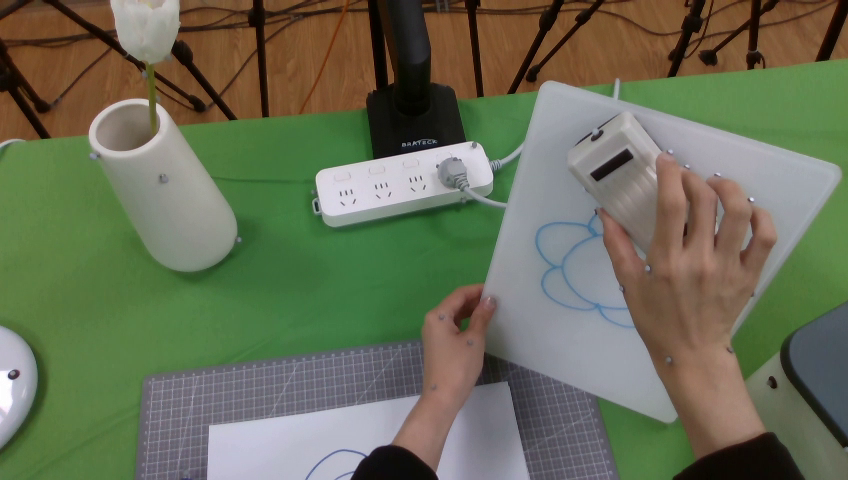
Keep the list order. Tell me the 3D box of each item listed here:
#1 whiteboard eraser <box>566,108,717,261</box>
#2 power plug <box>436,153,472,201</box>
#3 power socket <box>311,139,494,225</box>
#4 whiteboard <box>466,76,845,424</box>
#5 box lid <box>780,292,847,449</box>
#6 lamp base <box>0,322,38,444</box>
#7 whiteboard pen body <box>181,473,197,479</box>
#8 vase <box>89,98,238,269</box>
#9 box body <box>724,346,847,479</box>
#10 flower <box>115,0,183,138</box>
[{"bbox_3d":[0.160,-0.040,0.444,0.113,0.055,0.041,45,30,-14],"label":"whiteboard eraser"},{"bbox_3d":[0.033,-0.067,0.702,0.035,0.053,0.072,-2,66,-2],"label":"power plug"},{"bbox_3d":[-0.023,-0.071,0.729,0.227,0.033,0.071,-11,61,-8],"label":"power socket"},{"bbox_3d":[0.191,-0.006,0.573,0.216,0.308,0.143,20,41,12],"label":"whiteboard"},{"bbox_3d":[0.470,0.170,0.434,0.263,0.015,0.368,-24,63,-13],"label":"box lid"},{"bbox_3d":[-0.476,0.107,0.531,0.178,0.182,0.160,21,61,15],"label":"lamp base"},{"bbox_3d":[-0.216,0.276,0.524,0.017,0.017,0.139,0,62,0],"label":"whiteboard pen body"},{"bbox_3d":[-0.261,-0.051,0.617,0.098,0.201,0.097,0,59,1],"label":"vase"},{"bbox_3d":[0.471,0.210,0.497,0.254,0.161,0.360,-23,63,-14],"label":"box body"},{"bbox_3d":[-0.239,-0.088,0.544,0.038,0.363,0.044,41,57,2],"label":"flower"}]
